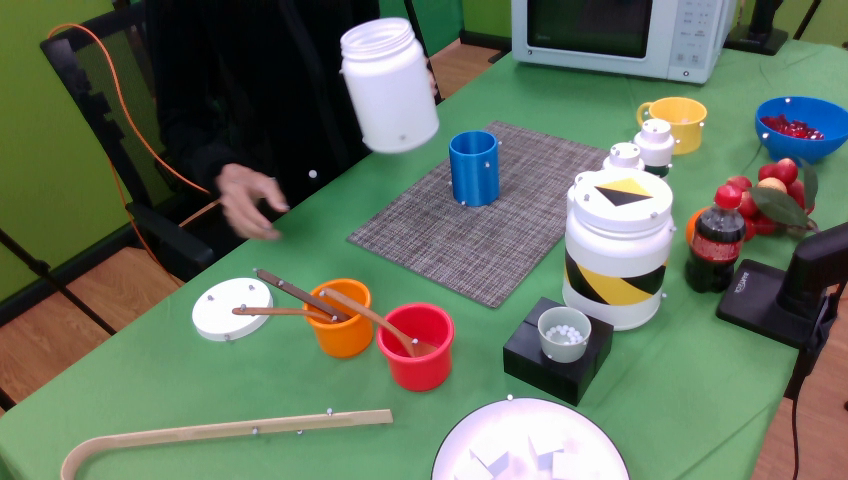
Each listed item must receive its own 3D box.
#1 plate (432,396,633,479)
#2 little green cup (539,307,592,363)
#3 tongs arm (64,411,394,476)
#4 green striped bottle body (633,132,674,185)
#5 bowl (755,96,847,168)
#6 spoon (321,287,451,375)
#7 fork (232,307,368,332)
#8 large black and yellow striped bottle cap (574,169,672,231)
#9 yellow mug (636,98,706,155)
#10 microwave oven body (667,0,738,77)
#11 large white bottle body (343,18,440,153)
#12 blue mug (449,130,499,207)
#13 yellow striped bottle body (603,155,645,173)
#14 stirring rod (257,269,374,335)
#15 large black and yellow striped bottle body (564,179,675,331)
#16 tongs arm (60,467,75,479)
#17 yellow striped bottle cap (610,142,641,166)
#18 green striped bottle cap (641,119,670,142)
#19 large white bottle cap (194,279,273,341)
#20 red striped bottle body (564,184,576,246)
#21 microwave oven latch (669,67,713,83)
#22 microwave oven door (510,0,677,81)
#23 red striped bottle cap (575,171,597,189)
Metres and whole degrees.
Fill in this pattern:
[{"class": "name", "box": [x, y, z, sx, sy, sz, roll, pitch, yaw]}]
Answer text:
[{"class": "plate", "box": [0.112, 0.261, 0.634, 0.209, 0.038, 0.208, -5, 40, 4]}, {"class": "little green cup", "box": [0.168, 0.114, 0.721, 0.061, 0.039, 0.061, -4, 43, 4]}, {"class": "tongs arm", "box": [-0.228, 0.241, 0.715, 0.385, 0.026, 0.050, -5, 44, 4]}, {"class": "green striped bottle body", "box": [0.376, -0.135, 1.001, 0.063, 0.120, 0.063, -5, 40, 5]}, {"class": "bowl", "box": [0.645, -0.177, 1.041, 0.151, 0.077, 0.150, -5, 40, 4]}, {"class": "spoon", "box": [-0.046, 0.111, 0.757, 0.194, 0.021, 0.041, 38, 47, -15]}, {"class": "fork", "box": [-0.152, 0.101, 0.781, 0.209, 0.018, 0.028, 18, 19, -45]}, {"class": "large black and yellow striped bottle cap", "box": [0.242, -0.051, 0.738, 0.115, 0.019, 0.114, -4, 37, 3]}, {"class": "yellow mug", "box": [0.453, -0.217, 1.128, 0.100, 0.064, 0.129, -34, 46, -27]}, {"class": "microwave oven body", "box": [0.462, -0.552, 1.369, 0.439, 0.261, 0.326, 15, 45, 26]}, {"class": "large white bottle body", "box": [-0.054, -0.250, 0.983, 0.130, 0.185, 0.130, -9, 37, 7]}, {"class": "blue mug", "box": [0.089, -0.132, 1.049, 0.082, 0.106, 0.116, 0, 40, 9]}, {"class": "yellow striped bottle body", "box": [0.314, -0.091, 0.957, 0.063, 0.121, 0.062, -4, 40, 4]}, {"class": "stirring rod", "box": [-0.143, 0.084, 0.808, 0.177, 0.006, 0.014, 30, 43, -19]}, {"class": "large black and yellow striped bottle body", "box": [0.253, 0.014, 0.793, 0.131, 0.185, 0.130, -5, 40, 4]}, {"class": "tongs arm", "box": [-0.239, 0.301, 0.649, 0.386, 0.028, 0.028, 6, 49, 16]}, {"class": "yellow striped bottle cap", "box": [0.308, -0.131, 0.925, 0.044, 0.019, 0.044, -4, 45, 5]}, {"class": "green striped bottle cap", "box": [0.371, -0.175, 0.968, 0.044, 0.020, 0.044, -4, 42, 4]}, {"class": "large white bottle cap", "box": [-0.284, 0.102, 0.902, 0.115, 0.018, 0.114, -4, 40, 4]}, {"class": "red striped bottle body", "box": [0.247, -0.041, 0.910, 0.063, 0.120, 0.062, -3, 39, 3]}, {"class": "microwave oven latch", "box": [0.556, -0.349, 1.261, 0.078, 0.029, 0.030, 16, 46, 27]}, {"class": "microwave oven door", "box": [0.354, -0.478, 1.290, 0.353, 0.245, 0.039, 15, 45, 25]}, {"class": "red striped bottle cap", "box": [0.242, -0.081, 0.876, 0.044, 0.018, 0.044, -5, 44, 5]}]
